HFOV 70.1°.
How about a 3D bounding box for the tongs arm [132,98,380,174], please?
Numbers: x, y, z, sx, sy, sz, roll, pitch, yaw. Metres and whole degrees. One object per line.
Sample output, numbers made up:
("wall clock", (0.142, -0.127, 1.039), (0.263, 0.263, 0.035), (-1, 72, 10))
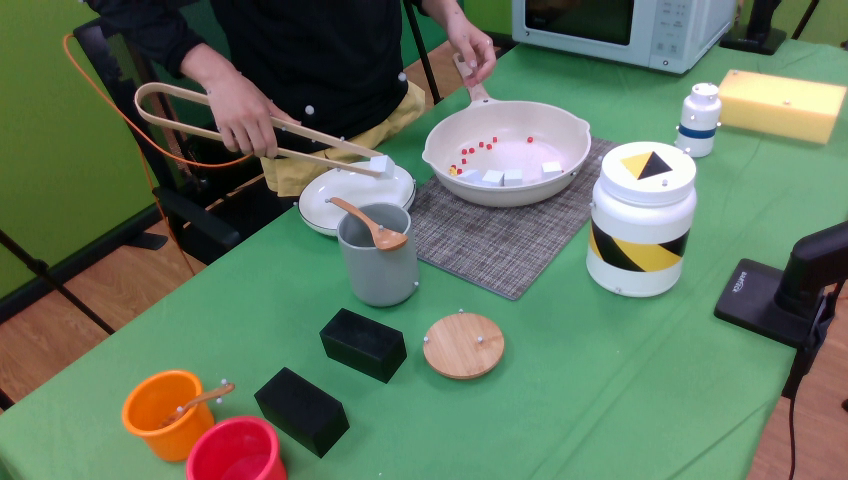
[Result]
("tongs arm", (-0.259, -0.157, 0.958), (0.389, 0.027, 0.028), (12, 78, -14))

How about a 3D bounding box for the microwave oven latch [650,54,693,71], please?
("microwave oven latch", (0.531, -0.386, 1.301), (0.078, 0.029, 0.030), (26, 51, 33))

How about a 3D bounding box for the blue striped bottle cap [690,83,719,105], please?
("blue striped bottle cap", (0.481, -0.251, 1.038), (0.044, 0.021, 0.044), (-5, 40, 5))

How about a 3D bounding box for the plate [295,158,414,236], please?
("plate", (-0.118, -0.071, 1.055), (0.207, 0.039, 0.206), (-5, 40, 5))

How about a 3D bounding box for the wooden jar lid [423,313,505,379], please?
("wooden jar lid", (0.053, 0.142, 0.800), (0.108, 0.021, 0.108), (-5, 39, 4))

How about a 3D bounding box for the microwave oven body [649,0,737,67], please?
("microwave oven body", (0.475, -0.602, 1.411), (0.438, 0.261, 0.327), (23, 50, 32))

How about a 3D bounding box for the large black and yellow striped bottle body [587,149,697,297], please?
("large black and yellow striped bottle body", (0.298, -0.026, 0.835), (0.131, 0.185, 0.130), (-4, 41, 4))

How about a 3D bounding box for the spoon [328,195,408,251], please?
("spoon", (-0.083, -0.029, 0.829), (0.042, 0.022, 0.192), (-31, 42, -21))

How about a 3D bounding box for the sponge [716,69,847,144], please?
("sponge", (0.663, -0.256, 1.142), (0.205, 0.061, 0.118), (19, 47, 28))

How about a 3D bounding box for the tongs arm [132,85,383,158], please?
("tongs arm", (-0.256, -0.178, 0.964), (0.386, 0.026, 0.050), (17, 73, -12))

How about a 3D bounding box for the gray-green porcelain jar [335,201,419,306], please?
("gray-green porcelain jar", (-0.064, 0.024, 0.872), (0.106, 0.127, 0.105), (-4, 41, 4))

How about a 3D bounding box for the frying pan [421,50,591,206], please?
("frying pan", (0.127, -0.233, 1.154), (0.307, 0.103, 0.484), (-11, 49, -5))

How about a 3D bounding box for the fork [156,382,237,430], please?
("fork", (-0.262, 0.189, 0.690), (0.018, 0.206, 0.028), (49, 43, -7))

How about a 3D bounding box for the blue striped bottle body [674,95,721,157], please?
("blue striped bottle body", (0.486, -0.213, 1.071), (0.063, 0.121, 0.063), (-4, 41, 4))

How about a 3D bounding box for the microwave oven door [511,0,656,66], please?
("microwave oven door", (0.351, -0.540, 1.350), (0.353, 0.245, 0.039), (24, 51, 31))

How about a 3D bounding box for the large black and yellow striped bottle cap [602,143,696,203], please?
("large black and yellow striped bottle cap", (0.289, -0.088, 0.779), (0.115, 0.019, 0.114), (-5, 39, 4))
